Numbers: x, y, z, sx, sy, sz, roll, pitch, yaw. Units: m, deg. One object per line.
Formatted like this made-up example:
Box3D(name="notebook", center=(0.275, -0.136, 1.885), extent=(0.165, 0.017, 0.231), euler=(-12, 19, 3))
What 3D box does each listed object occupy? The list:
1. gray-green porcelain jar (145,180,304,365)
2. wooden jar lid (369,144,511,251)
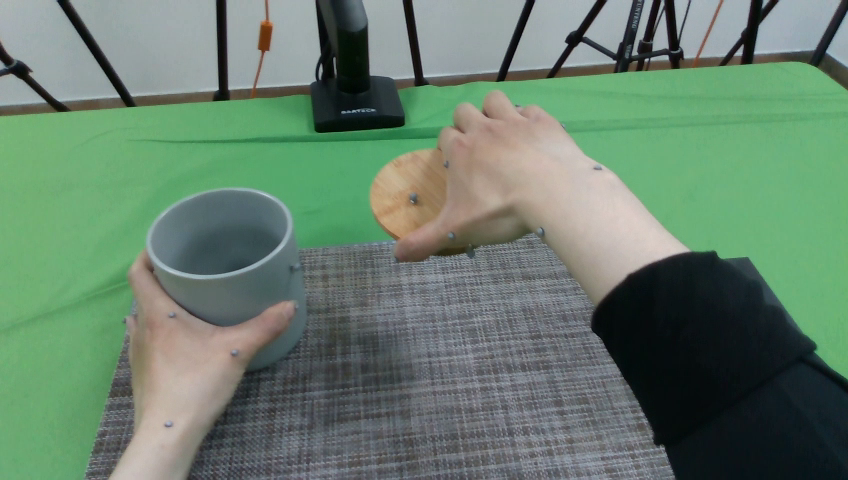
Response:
Box3D(name="gray-green porcelain jar", center=(-0.156, 0.031, 0.497), extent=(0.106, 0.127, 0.105), euler=(1, 43, -1))
Box3D(name="wooden jar lid", center=(0.012, -0.032, 0.465), extent=(0.108, 0.021, 0.107), euler=(3, 50, -3))
